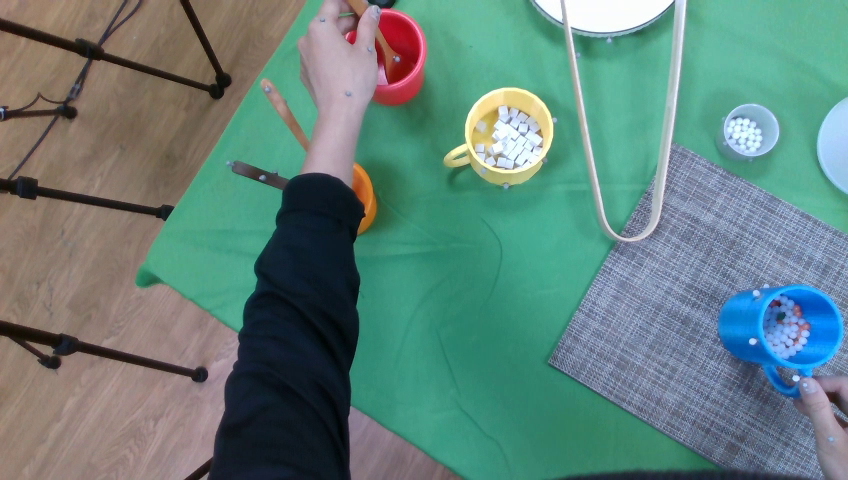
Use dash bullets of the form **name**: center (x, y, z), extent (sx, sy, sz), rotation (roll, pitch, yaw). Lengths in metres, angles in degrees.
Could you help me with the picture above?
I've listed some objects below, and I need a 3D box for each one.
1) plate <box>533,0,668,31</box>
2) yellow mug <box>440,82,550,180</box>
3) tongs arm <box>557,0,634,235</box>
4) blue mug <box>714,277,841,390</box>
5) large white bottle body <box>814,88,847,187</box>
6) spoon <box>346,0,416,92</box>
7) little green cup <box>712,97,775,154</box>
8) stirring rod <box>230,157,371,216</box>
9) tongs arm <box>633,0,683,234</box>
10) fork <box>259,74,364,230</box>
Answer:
- **plate**: center (0.214, -0.350, 0.736), extent (0.207, 0.039, 0.207), rotation (0, 84, 5)
- **yellow mug**: center (0.080, -0.120, 0.709), extent (0.131, 0.064, 0.099), rotation (-21, 83, 3)
- **tongs arm**: center (0.192, -0.194, 0.702), extent (0.051, 0.026, 0.384), rotation (-8, 91, 0)
- **blue mug**: center (0.372, 0.099, 0.639), extent (0.082, 0.106, 0.116), rotation (-10, 83, 3)
- **large white bottle body**: center (0.510, -0.127, 0.616), extent (0.130, 0.185, 0.130), rotation (-1, 83, 5)
- **spoon**: center (-0.055, -0.229, 0.667), extent (0.021, 0.195, 0.041), rotation (34, 83, 29)
- **little green cup**: center (0.367, -0.129, 0.701), extent (0.061, 0.039, 0.061), rotation (0, 85, 4)
- **stirring rod**: center (-0.133, -0.058, 0.682), extent (0.178, 0.006, 0.014), rotation (19, 79, -35)
- **tongs arm**: center (0.276, -0.198, 0.699), extent (0.028, 0.028, 0.387), rotation (6, 91, -3)
- **fork**: center (-0.124, -0.093, 0.679), extent (0.028, 0.018, 0.209), rotation (-31, 126, -2)
